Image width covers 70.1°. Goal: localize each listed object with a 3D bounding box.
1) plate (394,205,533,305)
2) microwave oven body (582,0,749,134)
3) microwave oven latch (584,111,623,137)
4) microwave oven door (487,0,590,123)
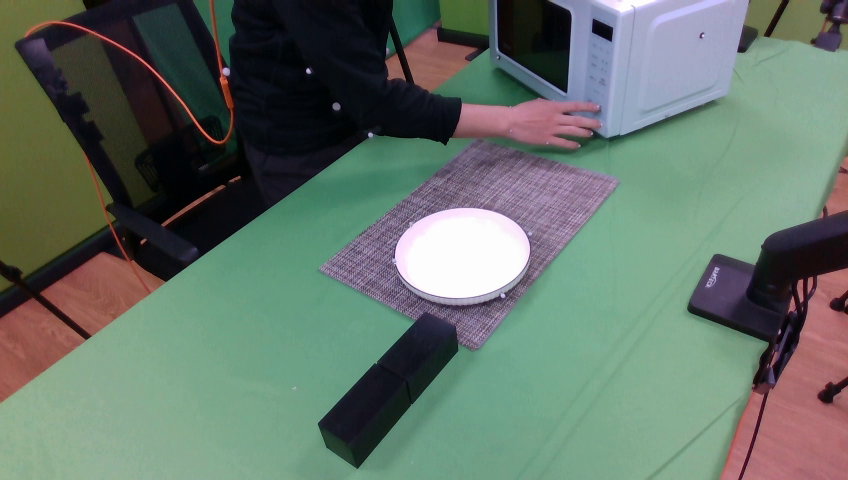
[{"bbox_3d":[0.059,0.025,0.915,0.207,0.039,0.206,-4,41,4],"label":"plate"},{"bbox_3d":[0.382,-0.444,1.246,0.327,0.261,0.437,-22,42,-16],"label":"microwave oven body"},{"bbox_3d":[0.337,-0.222,1.142,0.030,0.029,0.078,-21,42,-14],"label":"microwave oven latch"},{"bbox_3d":[0.232,-0.420,1.231,0.039,0.245,0.352,-22,43,-16],"label":"microwave oven door"}]
